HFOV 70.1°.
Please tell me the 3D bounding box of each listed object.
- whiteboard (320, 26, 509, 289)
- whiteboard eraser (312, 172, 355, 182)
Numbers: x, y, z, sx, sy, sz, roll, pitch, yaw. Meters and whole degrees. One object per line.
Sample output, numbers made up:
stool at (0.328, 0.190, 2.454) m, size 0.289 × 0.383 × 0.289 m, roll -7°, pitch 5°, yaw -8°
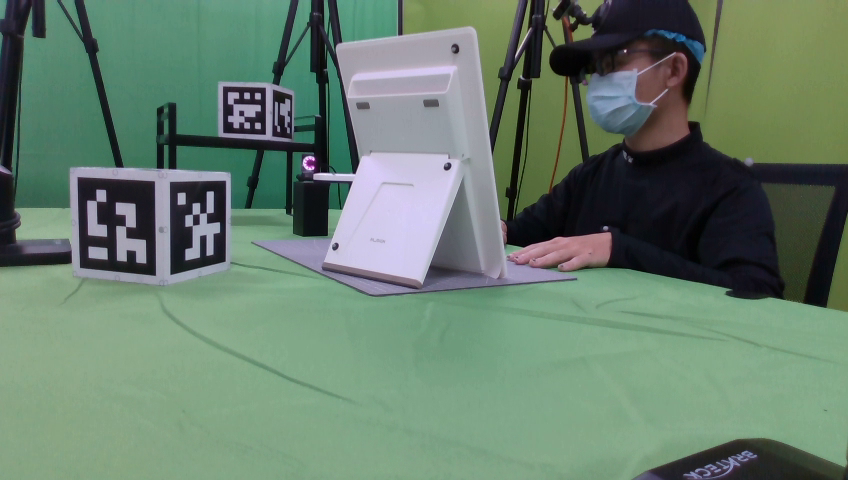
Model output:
whiteboard at (-0.045, -0.076, 0.721) m, size 0.216 × 0.305 × 0.144 m, roll 9°, pitch 29°, yaw 39°
whiteboard eraser at (-0.165, -0.121, 1.155) m, size 0.102 × 0.019 × 0.041 m, roll -2°, pitch 7°, yaw -34°
